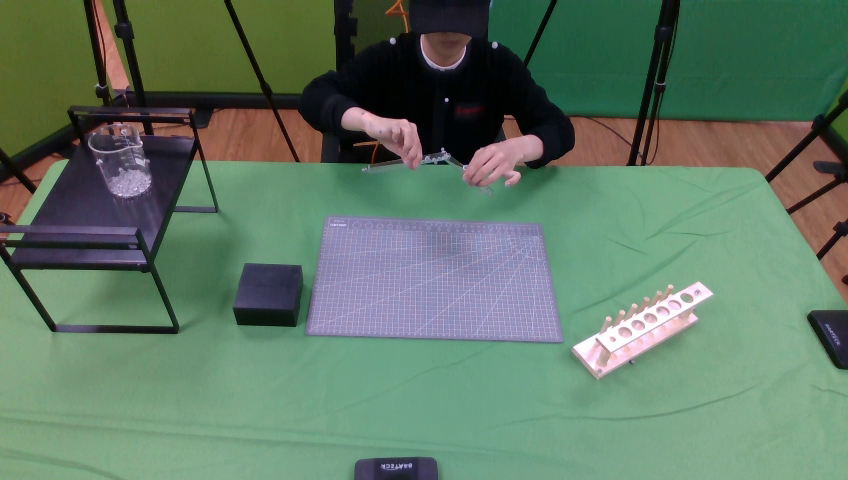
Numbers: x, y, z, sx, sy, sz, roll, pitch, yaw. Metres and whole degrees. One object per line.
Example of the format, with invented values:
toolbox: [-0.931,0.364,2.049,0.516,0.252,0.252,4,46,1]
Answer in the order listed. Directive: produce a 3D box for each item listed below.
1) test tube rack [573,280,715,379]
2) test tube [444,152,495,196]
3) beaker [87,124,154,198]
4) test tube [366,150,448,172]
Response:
test tube rack: [0.378,0.140,1.038,0.242,0.085,0.066,-22,51,-23]
test tube: [0.088,-0.122,1.135,0.017,0.151,0.017,-23,51,33]
beaker: [-0.482,-0.124,0.978,0.084,0.101,0.073,9,46,4]
test tube: [-0.029,-0.139,1.069,0.150,0.017,0.017,-11,48,-12]
